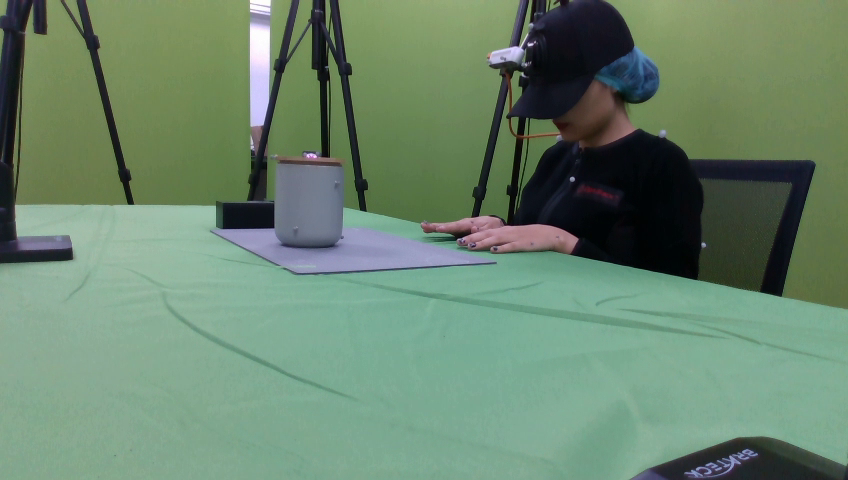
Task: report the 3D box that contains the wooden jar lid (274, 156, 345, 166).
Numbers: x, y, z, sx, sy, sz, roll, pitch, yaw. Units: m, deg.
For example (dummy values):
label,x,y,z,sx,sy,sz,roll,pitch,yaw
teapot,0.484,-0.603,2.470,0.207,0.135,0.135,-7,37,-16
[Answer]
label,x,y,z,sx,sy,sz,roll,pitch,yaw
wooden jar lid,-0.177,-0.119,0.936,0.108,0.020,0.108,2,8,0

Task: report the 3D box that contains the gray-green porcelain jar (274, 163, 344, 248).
label,x,y,z,sx,sy,sz,roll,pitch,yaw
gray-green porcelain jar,-0.180,-0.055,0.945,0.106,0.126,0.106,2,7,0
